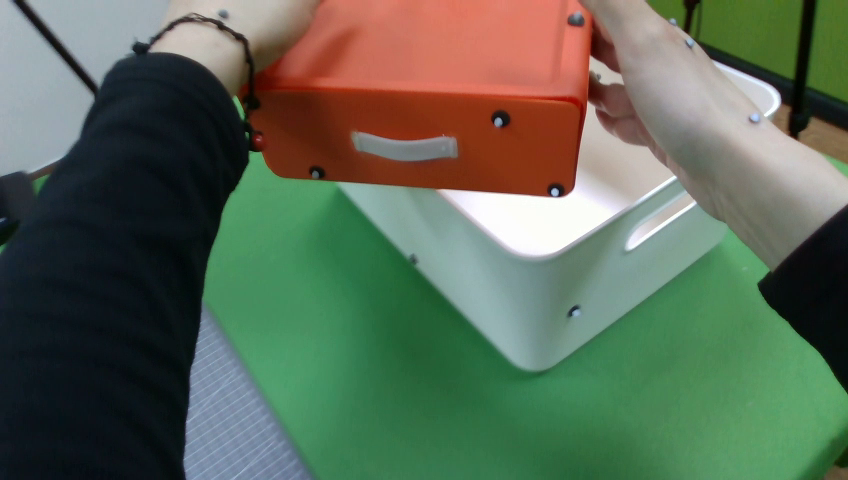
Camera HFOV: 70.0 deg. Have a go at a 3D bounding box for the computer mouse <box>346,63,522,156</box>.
[{"bbox_3d":[0.007,-0.089,0.408,0.117,0.041,0.062,9,45,9],"label":"computer mouse"}]

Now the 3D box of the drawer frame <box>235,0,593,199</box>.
[{"bbox_3d":[0.011,-0.134,0.418,0.201,0.083,0.212,5,50,12],"label":"drawer frame"}]

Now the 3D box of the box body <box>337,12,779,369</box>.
[{"bbox_3d":[0.076,-0.086,0.568,0.254,0.162,0.360,-32,50,-19],"label":"box body"}]

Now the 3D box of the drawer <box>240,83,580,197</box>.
[{"bbox_3d":[0.011,-0.129,0.417,0.194,0.074,0.210,4,50,13],"label":"drawer"}]
